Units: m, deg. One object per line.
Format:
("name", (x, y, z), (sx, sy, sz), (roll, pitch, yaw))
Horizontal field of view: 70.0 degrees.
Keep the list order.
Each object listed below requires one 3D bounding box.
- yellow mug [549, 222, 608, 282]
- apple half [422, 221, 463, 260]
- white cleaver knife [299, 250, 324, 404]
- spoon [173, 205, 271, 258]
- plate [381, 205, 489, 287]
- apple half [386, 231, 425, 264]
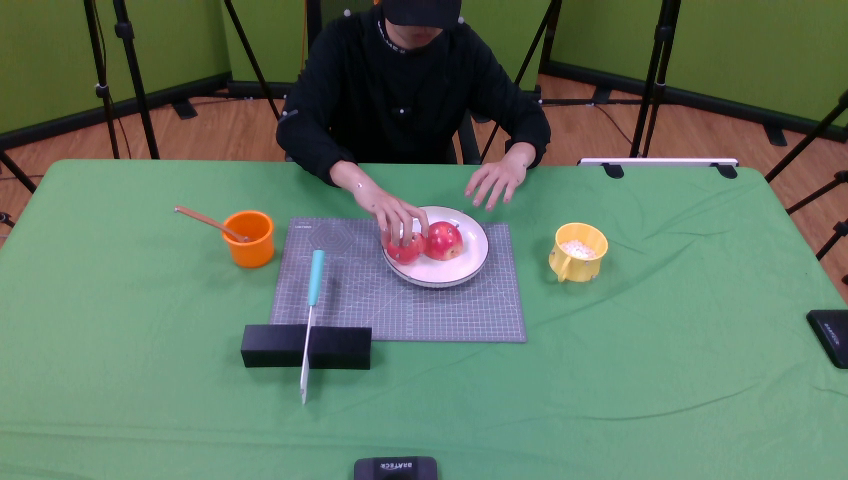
("yellow mug", (0.287, 0.031, 1.159), (0.099, 0.064, 0.130), (27, 51, 21))
("apple half", (0.035, -0.005, 1.168), (0.081, 0.053, 0.074), (-17, 50, -22))
("white cleaver knife", (-0.194, 0.134, 1.019), (0.021, 0.066, 0.284), (5, 50, -5))
("spoon", (-0.362, -0.017, 1.098), (0.021, 0.195, 0.041), (-32, 42, 27))
("plate", (0.021, 0.015, 1.170), (0.209, 0.038, 0.208), (2, 46, -2))
("apple half", (-0.029, 0.023, 1.120), (0.081, 0.081, 0.032), (-11, 51, -14))
